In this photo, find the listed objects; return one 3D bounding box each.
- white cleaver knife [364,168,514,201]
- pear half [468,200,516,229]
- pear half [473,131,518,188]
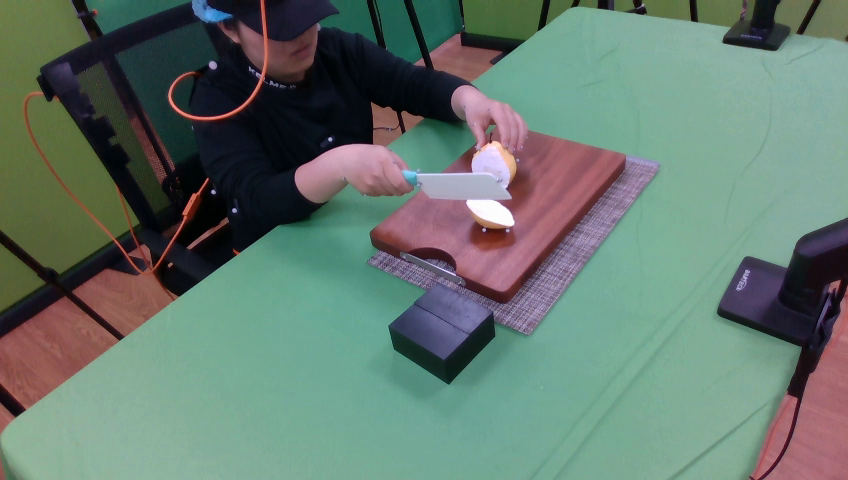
[{"bbox_3d":[0.010,-0.079,0.905,0.284,0.066,0.021,8,56,45],"label":"white cleaver knife"},{"bbox_3d":[0.106,-0.037,0.957,0.071,0.031,0.087,-22,52,-37],"label":"pear half"},{"bbox_3d":[0.123,-0.140,1.017,0.076,0.110,0.056,14,45,21],"label":"pear half"}]
